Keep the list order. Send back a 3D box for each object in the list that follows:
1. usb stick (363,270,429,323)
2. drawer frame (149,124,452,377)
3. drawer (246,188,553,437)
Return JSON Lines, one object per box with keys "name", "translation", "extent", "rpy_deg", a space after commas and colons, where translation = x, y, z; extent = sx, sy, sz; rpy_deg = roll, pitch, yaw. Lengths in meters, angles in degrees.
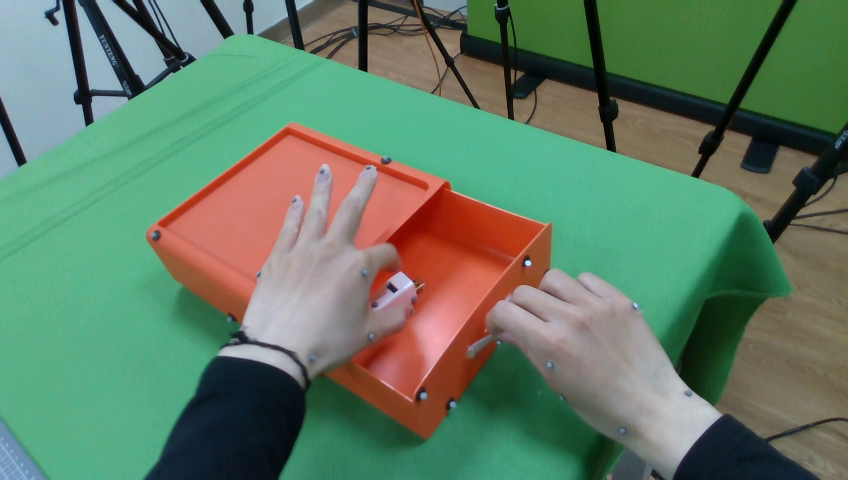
{"name": "usb stick", "translation": [-0.023, 0.047, 0.540], "extent": [0.059, 0.027, 0.021], "rpy_deg": [-31, 49, -18]}
{"name": "drawer frame", "translation": [-0.110, -0.004, 0.580], "extent": [0.212, 0.083, 0.201], "rpy_deg": [23, 56, 30]}
{"name": "drawer", "translation": [-0.024, 0.034, 0.529], "extent": [0.210, 0.074, 0.194], "rpy_deg": [23, 56, 30]}
